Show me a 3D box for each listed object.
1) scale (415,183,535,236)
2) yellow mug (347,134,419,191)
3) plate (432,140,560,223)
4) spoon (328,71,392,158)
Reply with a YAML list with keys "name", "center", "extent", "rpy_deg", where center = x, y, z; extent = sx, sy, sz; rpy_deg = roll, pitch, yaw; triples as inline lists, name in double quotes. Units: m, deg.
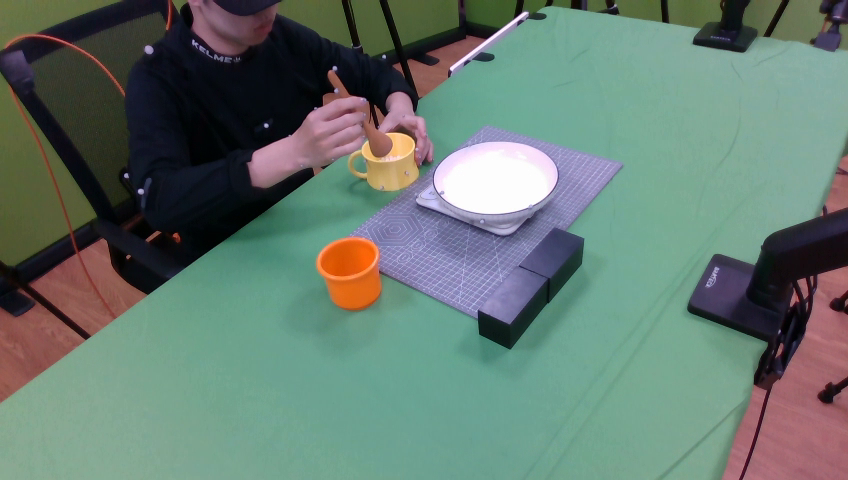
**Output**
- name: "scale"
  center: [0.099, -0.080, 1.035]
  extent: [0.199, 0.032, 0.149]
  rpy_deg: [23, 48, 31]
- name: "yellow mug"
  center: [-0.078, -0.142, 1.115]
  extent: [0.131, 0.064, 0.099]
  rpy_deg: [-6, 39, 3]
- name: "plate"
  center: [0.118, -0.094, 0.999]
  extent: [0.209, 0.038, 0.208]
  rpy_deg: [-4, 41, 4]
- name: "spoon"
  center: [-0.101, -0.193, 0.950]
  extent: [0.041, 0.195, 0.021]
  rpy_deg: [-39, 48, -1]
